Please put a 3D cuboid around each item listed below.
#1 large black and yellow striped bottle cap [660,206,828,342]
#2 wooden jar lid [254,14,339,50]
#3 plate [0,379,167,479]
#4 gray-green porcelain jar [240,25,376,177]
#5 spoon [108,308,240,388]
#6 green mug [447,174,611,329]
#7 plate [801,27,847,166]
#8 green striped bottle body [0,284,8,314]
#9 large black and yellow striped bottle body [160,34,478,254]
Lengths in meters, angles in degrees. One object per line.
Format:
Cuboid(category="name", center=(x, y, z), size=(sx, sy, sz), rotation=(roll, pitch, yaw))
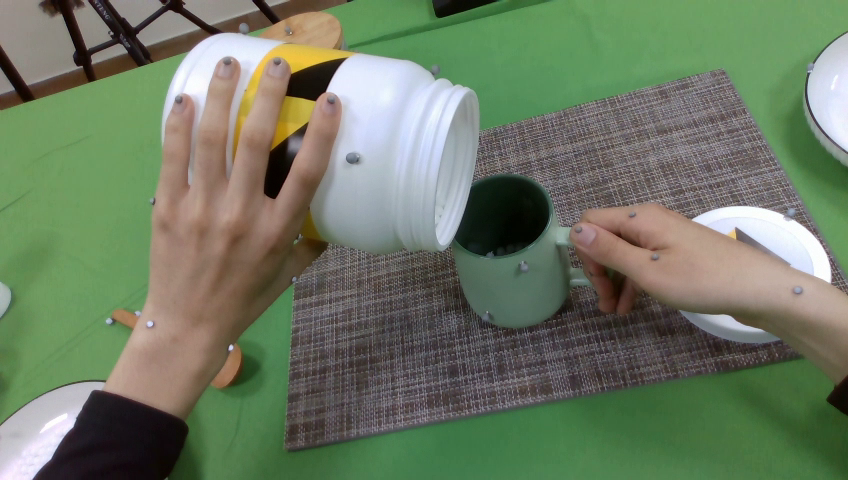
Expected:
Cuboid(category="large black and yellow striped bottle cap", center=(0.244, 0.023, 0.467), size=(0.115, 0.019, 0.114), rotation=(-9, 53, 13))
Cuboid(category="wooden jar lid", center=(-0.129, -0.176, 0.581), size=(0.108, 0.021, 0.107), rotation=(-11, 52, 14))
Cuboid(category="plate", center=(-0.302, 0.218, 0.496), size=(0.209, 0.038, 0.207), rotation=(-8, 54, 12))
Cuboid(category="gray-green porcelain jar", center=(-0.113, -0.137, 0.628), size=(0.105, 0.128, 0.105), rotation=(-9, 49, 12))
Cuboid(category="spoon", center=(-0.242, 0.093, 0.575), size=(0.192, 0.022, 0.041), rotation=(16, 78, 26))
Cuboid(category="green mug", center=(0.081, 0.012, 0.472), size=(0.125, 0.106, 0.092), rotation=(4, 57, 21))
Cuboid(category="plate", center=(0.425, -0.112, 0.496), size=(0.207, 0.039, 0.205), rotation=(-9, 54, 12))
Cuboid(category="green striped bottle body", center=(-0.509, 0.044, 0.632), size=(0.063, 0.120, 0.062), rotation=(-9, 54, 13))
Cuboid(category="large black and yellow striped bottle body", center=(-0.065, -0.064, 0.418), size=(0.183, 0.132, 0.130), rotation=(12, 60, 13))
